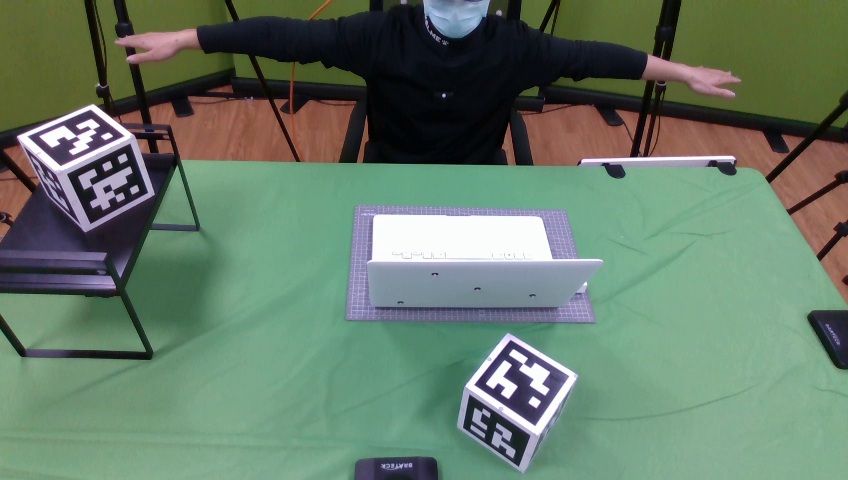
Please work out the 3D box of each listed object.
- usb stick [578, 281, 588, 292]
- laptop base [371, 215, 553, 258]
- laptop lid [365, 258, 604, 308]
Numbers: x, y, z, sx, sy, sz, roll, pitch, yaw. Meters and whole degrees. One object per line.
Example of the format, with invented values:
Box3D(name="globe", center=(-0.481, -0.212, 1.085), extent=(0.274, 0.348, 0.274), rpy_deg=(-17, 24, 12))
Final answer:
Box3D(name="usb stick", center=(0.271, 0.082, 1.119), extent=(0.059, 0.027, 0.021), rpy_deg=(-2, 47, -1))
Box3D(name="laptop base", center=(0.075, 0.037, 1.167), extent=(0.355, 0.023, 0.234), rpy_deg=(0, 43, -4))
Box3D(name="laptop lid", center=(0.085, 0.074, 0.978), extent=(0.357, 0.242, 0.013), rpy_deg=(1, 67, -5))
